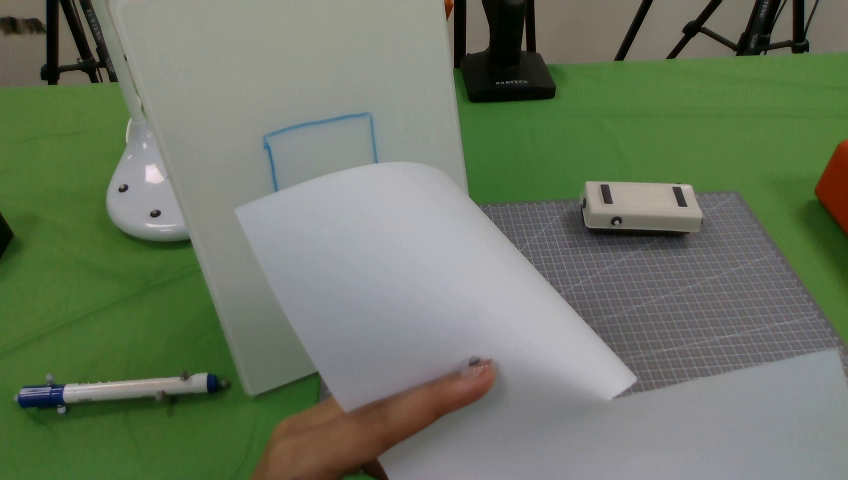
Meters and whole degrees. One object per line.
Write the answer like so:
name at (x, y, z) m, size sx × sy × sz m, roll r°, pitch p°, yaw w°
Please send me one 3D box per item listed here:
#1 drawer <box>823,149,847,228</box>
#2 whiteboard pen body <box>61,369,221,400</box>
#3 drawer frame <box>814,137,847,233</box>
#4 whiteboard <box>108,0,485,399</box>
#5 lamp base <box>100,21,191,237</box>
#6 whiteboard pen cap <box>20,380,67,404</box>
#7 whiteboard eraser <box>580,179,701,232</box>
drawer at (0.528, -0.005, 0.567) m, size 0.194 × 0.074 × 0.209 m, roll -2°, pitch 42°, yaw 0°
whiteboard pen body at (-0.236, 0.116, 0.482) m, size 0.141 × 0.017 × 0.017 m, roll -3°, pitch 43°, yaw -8°
drawer frame at (0.527, -0.010, 0.571) m, size 0.202 × 0.083 × 0.211 m, roll -3°, pitch 43°, yaw -1°
whiteboard at (-0.091, -0.064, 0.509) m, size 0.217 × 0.308 × 0.142 m, roll -18°, pitch 27°, yaw -17°
lamp base at (-0.272, -0.120, 0.619) m, size 0.178 × 0.182 × 0.160 m, roll 26°, pitch 49°, yaw 28°
whiteboard pen cap at (-0.295, 0.119, 0.474) m, size 0.033 × 0.018 × 0.018 m, roll -1°, pitch 43°, yaw -10°
whiteboard eraser at (0.220, -0.034, 0.623) m, size 0.112 × 0.042 × 0.055 m, roll 2°, pitch 42°, yaw 2°
